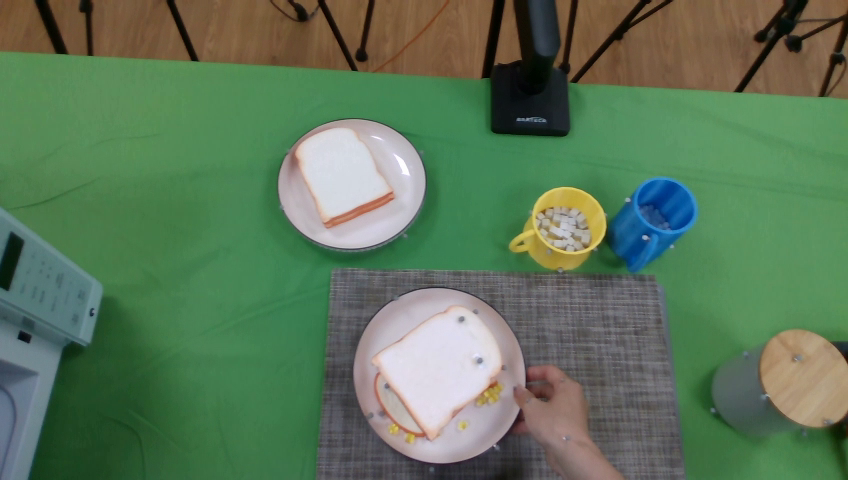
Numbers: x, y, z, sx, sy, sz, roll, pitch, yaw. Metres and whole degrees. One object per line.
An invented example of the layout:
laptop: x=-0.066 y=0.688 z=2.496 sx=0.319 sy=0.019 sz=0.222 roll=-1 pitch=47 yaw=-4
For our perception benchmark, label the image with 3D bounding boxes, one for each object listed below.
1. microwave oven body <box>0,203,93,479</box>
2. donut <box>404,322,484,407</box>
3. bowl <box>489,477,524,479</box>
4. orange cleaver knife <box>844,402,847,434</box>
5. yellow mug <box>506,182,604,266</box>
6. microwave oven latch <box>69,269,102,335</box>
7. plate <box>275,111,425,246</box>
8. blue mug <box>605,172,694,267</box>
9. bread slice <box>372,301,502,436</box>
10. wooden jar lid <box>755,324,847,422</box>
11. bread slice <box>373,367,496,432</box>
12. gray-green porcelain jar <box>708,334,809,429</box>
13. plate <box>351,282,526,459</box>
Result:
microwave oven body: x=-0.575 y=0.195 z=0.592 sx=0.326 sy=0.261 sz=0.438 roll=3 pitch=69 yaw=-2
donut: x=0.025 y=0.144 z=0.702 sx=0.099 sy=0.048 sz=0.098 roll=9 pitch=65 yaw=-19
bowl: x=0.089 y=0.344 z=0.674 sx=0.151 sy=0.077 sz=0.150 roll=1 pitch=68 yaw=-3
orange cleaver knife: x=0.544 y=0.227 z=0.743 sx=0.012 sy=0.077 sz=0.211 roll=0 pitch=95 yaw=-2
yellow mug: x=0.174 y=-0.016 z=0.829 sx=0.131 sy=0.064 sz=0.099 roll=-18 pitch=70 yaw=-9
microwave oven latch: x=-0.425 y=0.076 z=0.752 sx=0.030 sy=0.029 sz=0.078 roll=6 pitch=69 yaw=-1
plate: x=-0.103 y=-0.084 z=0.855 sx=0.208 sy=0.039 sz=0.206 roll=1 pitch=68 yaw=-3
blue mug: x=0.296 y=-0.017 z=0.815 sx=0.082 sy=0.106 sz=0.116 roll=21 pitch=69 yaw=6
bread slice: x=0.020 y=0.131 z=0.673 sx=0.134 sy=0.018 sz=0.107 roll=-38 pitch=84 yaw=-25
wooden jar lid: x=0.420 y=0.148 z=0.676 sx=0.108 sy=0.021 sz=0.107 roll=2 pitch=71 yaw=-4
bread slice: x=0.008 y=0.164 z=0.726 sx=0.131 sy=0.019 sz=0.104 roll=-37 pitch=76 yaw=-18
gray-green porcelain jar: x=0.418 y=0.172 z=0.734 sx=0.106 sy=0.127 sz=0.105 roll=1 pitch=68 yaw=-3
plate: x=0.017 y=0.154 z=0.728 sx=0.209 sy=0.038 sz=0.207 roll=2 pitch=69 yaw=-4
